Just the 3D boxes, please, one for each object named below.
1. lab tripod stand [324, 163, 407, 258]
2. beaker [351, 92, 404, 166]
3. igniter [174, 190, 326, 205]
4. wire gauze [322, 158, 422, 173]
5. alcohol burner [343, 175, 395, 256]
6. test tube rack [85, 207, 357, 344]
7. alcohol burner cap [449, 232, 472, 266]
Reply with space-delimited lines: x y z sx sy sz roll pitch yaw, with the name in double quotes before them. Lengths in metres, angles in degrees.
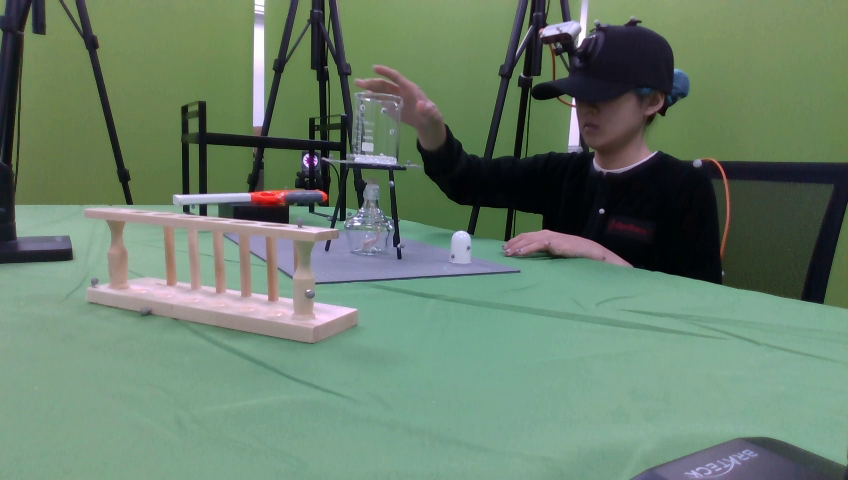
"lab tripod stand" -0.073 -0.047 0.900 0.148 0.131 0.148 2 5 0
"beaker" -0.067 -0.160 0.886 0.084 0.100 0.073 -1 8 -39
"igniter" -0.317 -0.079 1.132 0.278 0.025 0.057 -4 13 -32
"wire gauze" -0.079 -0.111 0.892 0.122 0.011 0.124 4 3 -24
"alcohol burner" -0.079 -0.036 0.890 0.078 0.119 0.078 5 7 0
"test tube rack" -0.177 0.022 0.518 0.241 0.085 0.067 6 7 23
"alcohol burner cap" 0.052 0.012 0.843 0.034 0.048 0.034 2 6 0
